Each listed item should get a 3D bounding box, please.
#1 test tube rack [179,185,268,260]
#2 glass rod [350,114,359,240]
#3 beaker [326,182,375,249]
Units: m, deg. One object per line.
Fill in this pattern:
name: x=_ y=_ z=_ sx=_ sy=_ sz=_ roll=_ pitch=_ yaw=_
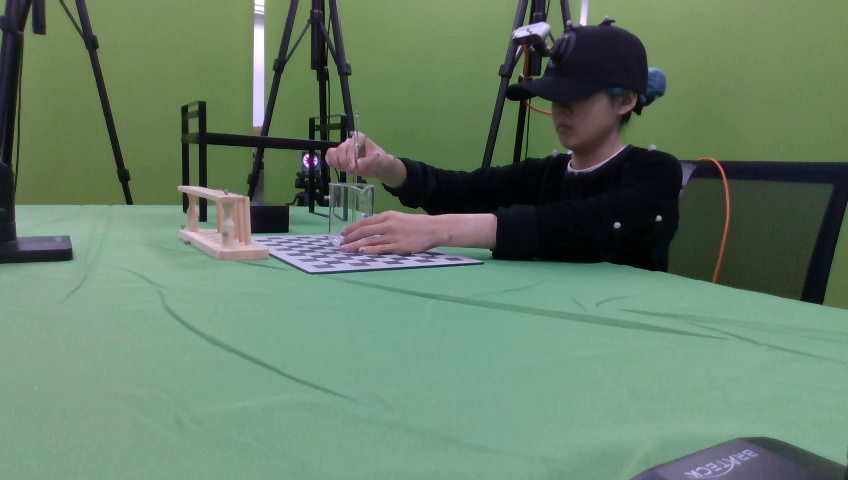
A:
test tube rack: x=-0.303 y=-0.031 z=0.898 sx=0.067 sy=0.085 sz=0.241 roll=-2 pitch=9 yaw=-33
glass rod: x=-0.111 y=-0.099 z=0.959 sx=0.008 sy=0.199 sz=0.008 roll=3 pitch=5 yaw=0
beaker: x=-0.114 y=-0.039 z=0.950 sx=0.074 sy=0.100 sz=0.083 roll=-2 pitch=9 yaw=-30
